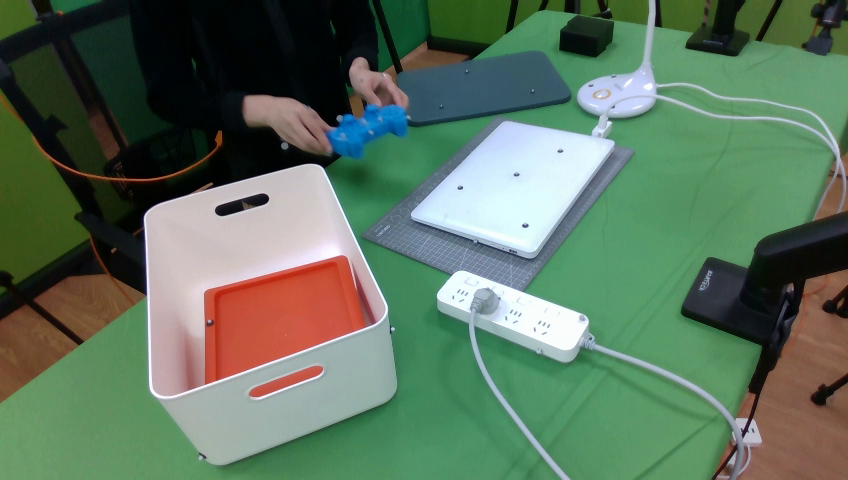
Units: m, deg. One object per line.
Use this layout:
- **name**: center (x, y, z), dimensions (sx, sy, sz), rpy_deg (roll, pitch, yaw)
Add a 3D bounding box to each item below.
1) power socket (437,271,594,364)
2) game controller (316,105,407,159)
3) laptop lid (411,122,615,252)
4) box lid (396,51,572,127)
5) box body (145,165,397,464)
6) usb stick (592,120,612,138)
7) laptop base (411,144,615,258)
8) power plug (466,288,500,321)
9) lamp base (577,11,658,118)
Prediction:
- **power socket**: center (0.118, 0.102, 0.830), dimensions (0.225, 0.033, 0.072), rpy_deg (20, 48, 28)
- **game controller**: center (-0.102, -0.192, 1.026), dimensions (0.156, 0.052, 0.096), rpy_deg (-31, 45, -26)
- **laptop lid**: center (0.164, -0.112, 1.068), dimensions (0.240, 0.013, 0.357), rpy_deg (19, 46, 31)
- **box lid**: center (0.128, -0.350, 1.380), dimensions (0.372, 0.015, 0.261), rpy_deg (-10, 41, -2)
- **box body**: center (-0.205, 0.080, 0.802), dimensions (0.255, 0.161, 0.361), rpy_deg (-18, 41, -13)
- **usb stick**: center (0.335, -0.203, 1.149), dimensions (0.021, 0.027, 0.059), rpy_deg (25, 53, 26)
- **laptop base**: center (0.167, -0.102, 1.074), dimensions (0.234, 0.023, 0.355), rpy_deg (17, 45, 30)
- **power plug**: center (0.072, 0.093, 0.813), dimensions (0.035, 0.053, 0.073), rpy_deg (30, 54, 35)
- **lamp base**: center (0.406, -0.363, 1.222), dimensions (0.180, 0.181, 0.159), rpy_deg (-20, 42, -18)
